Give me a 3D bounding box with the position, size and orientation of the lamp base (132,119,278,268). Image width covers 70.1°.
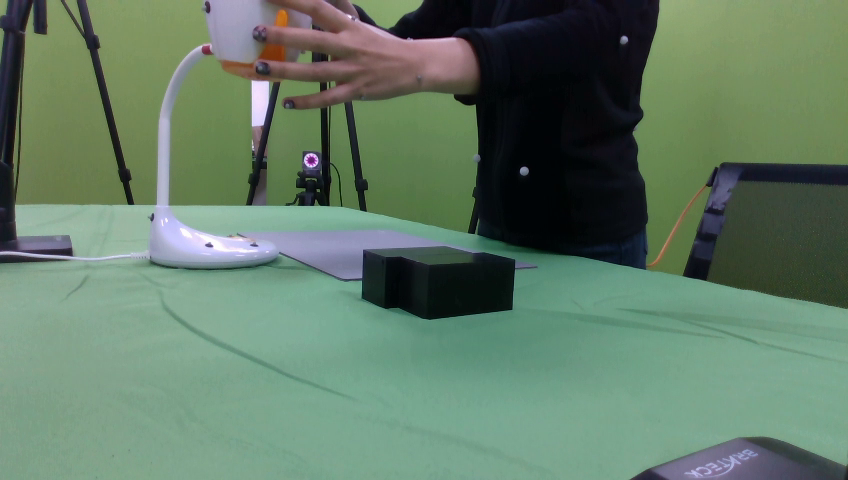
[{"bbox_3d":[-0.279,-0.061,0.770,0.160,0.180,0.180,9,13,43],"label":"lamp base"}]

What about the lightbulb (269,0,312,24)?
[{"bbox_3d":[-0.161,-0.296,0.736,0.060,0.059,0.107,-1,46,-21],"label":"lightbulb"}]

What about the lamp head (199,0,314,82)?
[{"bbox_3d":[-0.162,-0.214,0.574,0.112,0.123,0.112,9,8,-1],"label":"lamp head"}]
